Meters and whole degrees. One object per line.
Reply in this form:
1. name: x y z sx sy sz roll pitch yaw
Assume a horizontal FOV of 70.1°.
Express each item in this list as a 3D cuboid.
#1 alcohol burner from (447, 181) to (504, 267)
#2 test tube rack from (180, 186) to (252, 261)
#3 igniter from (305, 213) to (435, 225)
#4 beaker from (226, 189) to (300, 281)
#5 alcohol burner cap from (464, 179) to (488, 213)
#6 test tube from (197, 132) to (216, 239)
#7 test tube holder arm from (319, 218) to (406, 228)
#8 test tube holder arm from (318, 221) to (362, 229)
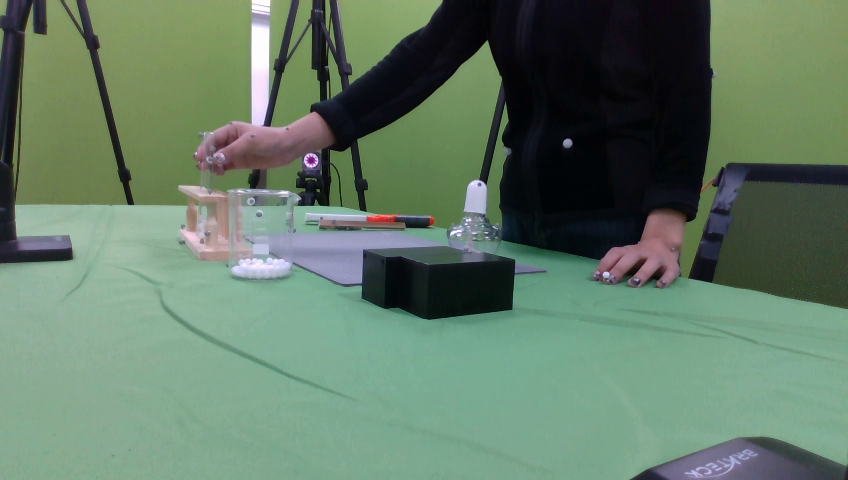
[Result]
1. alcohol burner: 0.070 -0.024 0.828 0.078 0.119 0.078 0 7 0
2. test tube rack: -0.312 -0.031 0.893 0.067 0.085 0.241 -1 8 -27
3. igniter: -0.113 -0.046 1.299 0.277 0.025 0.057 1 -3 -12
4. beaker: -0.184 -0.007 0.694 0.084 0.100 0.073 -1 8 -29
5. alcohol burner cap: 0.073 -0.060 0.824 0.034 0.048 0.034 7 4 0
6. test tube: -0.304 -0.076 0.846 0.017 0.150 0.017 4 -1 0
7. test tube holder arm: -0.122 -0.032 1.214 0.179 0.015 0.013 1 -23 -21
8. test tube holder arm: -0.166 -0.031 1.203 0.088 0.015 0.010 0 -23 -20
